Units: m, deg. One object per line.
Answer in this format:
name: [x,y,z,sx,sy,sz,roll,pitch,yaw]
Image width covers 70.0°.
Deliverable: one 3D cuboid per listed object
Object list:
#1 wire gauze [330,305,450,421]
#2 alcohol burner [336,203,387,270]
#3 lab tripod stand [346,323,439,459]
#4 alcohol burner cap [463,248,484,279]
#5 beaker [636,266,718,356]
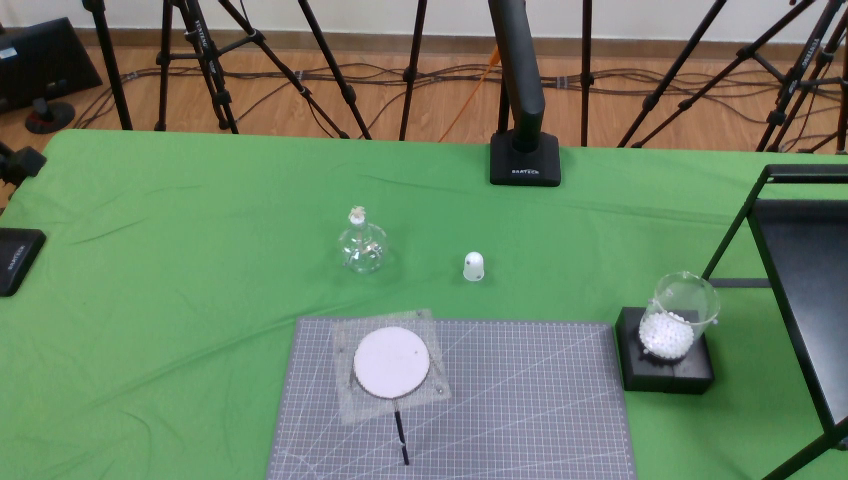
wire gauze: [-0.041,0.133,0.685,0.121,0.011,0.123,-9,55,-7]
alcohol burner: [-0.095,-0.010,0.894,0.078,0.120,0.077,-2,51,3]
lab tripod stand: [-0.036,0.175,0.738,0.148,0.132,0.147,0,54,0]
alcohol burner cap: [0.074,0.032,0.904,0.034,0.048,0.033,-2,54,3]
beaker: [0.310,0.091,0.755,0.074,0.101,0.083,9,53,9]
